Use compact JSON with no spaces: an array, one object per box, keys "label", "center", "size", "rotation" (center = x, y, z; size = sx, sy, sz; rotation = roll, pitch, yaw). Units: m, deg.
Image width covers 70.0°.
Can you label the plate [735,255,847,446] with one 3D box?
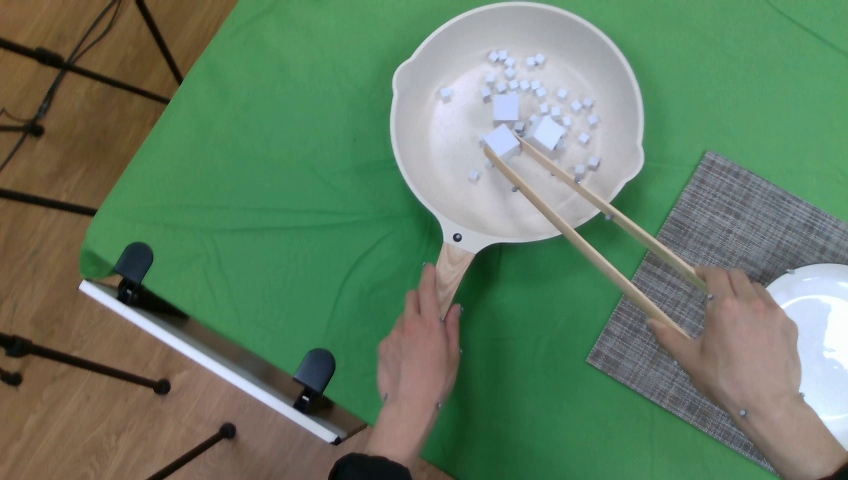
[{"label":"plate","center":[0.452,0.121,0.679],"size":[0.207,0.039,0.207],"rotation":[-1,80,4]}]

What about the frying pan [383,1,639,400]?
[{"label":"frying pan","center":[0.061,-0.048,0.704],"size":[0.306,0.103,0.486],"rotation":[23,75,8]}]

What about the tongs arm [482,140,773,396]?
[{"label":"tongs arm","center":[0.178,0.011,0.614],"size":[0.028,0.028,0.383],"rotation":[-35,58,-9]}]

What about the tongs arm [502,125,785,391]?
[{"label":"tongs arm","center":[0.196,-0.002,0.616],"size":[0.051,0.027,0.381],"rotation":[-41,59,-9]}]
